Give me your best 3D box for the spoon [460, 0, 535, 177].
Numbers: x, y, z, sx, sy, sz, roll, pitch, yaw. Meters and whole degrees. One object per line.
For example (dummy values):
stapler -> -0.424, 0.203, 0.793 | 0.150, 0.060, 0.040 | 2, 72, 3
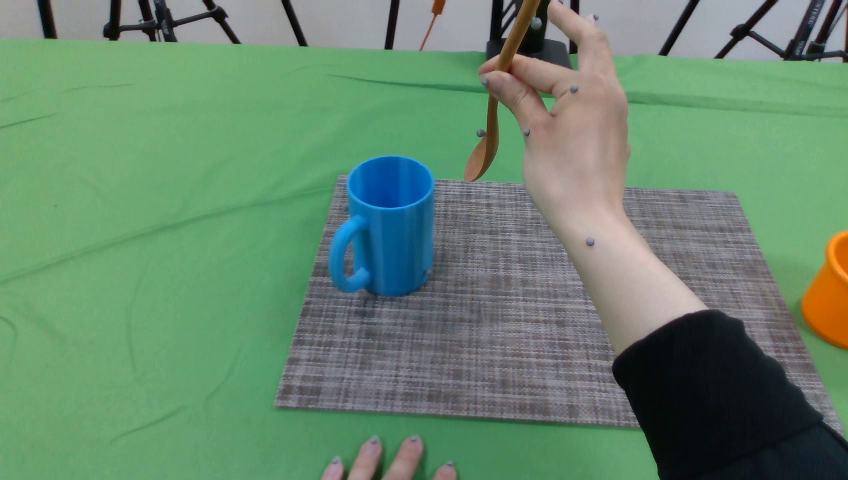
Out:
spoon -> 0.050, -0.107, 0.427 | 0.021, 0.195, 0.041 | 11, 61, 0

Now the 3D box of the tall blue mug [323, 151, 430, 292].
tall blue mug -> -0.038, -0.005, 0.544 | 0.077, 0.109, 0.106 | 9, 45, 7
